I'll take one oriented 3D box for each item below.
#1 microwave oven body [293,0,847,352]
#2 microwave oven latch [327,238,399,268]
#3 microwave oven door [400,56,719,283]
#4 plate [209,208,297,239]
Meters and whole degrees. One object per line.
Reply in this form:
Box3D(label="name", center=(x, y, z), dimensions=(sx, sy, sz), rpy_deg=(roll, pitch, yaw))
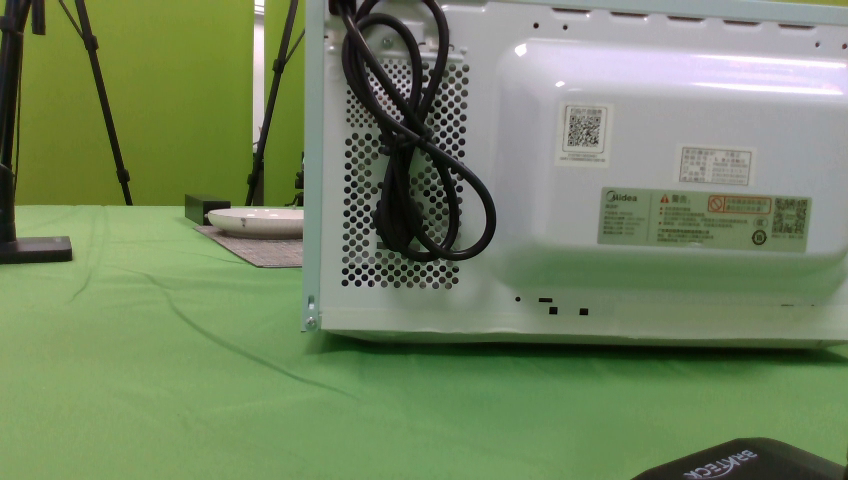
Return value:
Box3D(label="microwave oven body", center=(0.122, -0.055, 0.550), dimensions=(0.442, 0.260, 0.325), rpy_deg=(3, 7, -5))
Box3D(label="microwave oven latch", center=(-0.069, 0.015, 0.694), dimensions=(0.079, 0.029, 0.030), rpy_deg=(3, 7, -3))
Box3D(label="microwave oven door", center=(0.155, -0.077, 0.697), dimensions=(0.356, 0.243, 0.039), rpy_deg=(2, 8, -5))
Box3D(label="plate", center=(-0.271, -0.029, 1.074), dimensions=(0.208, 0.039, 0.207), rpy_deg=(3, 7, 0))
